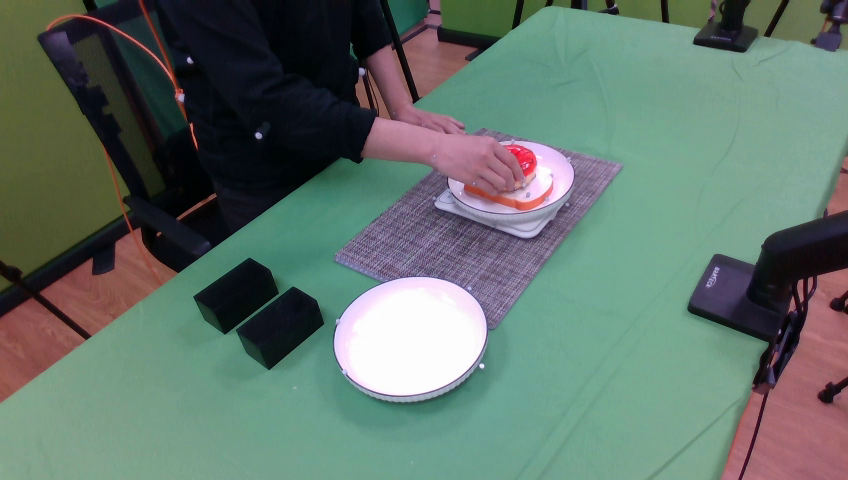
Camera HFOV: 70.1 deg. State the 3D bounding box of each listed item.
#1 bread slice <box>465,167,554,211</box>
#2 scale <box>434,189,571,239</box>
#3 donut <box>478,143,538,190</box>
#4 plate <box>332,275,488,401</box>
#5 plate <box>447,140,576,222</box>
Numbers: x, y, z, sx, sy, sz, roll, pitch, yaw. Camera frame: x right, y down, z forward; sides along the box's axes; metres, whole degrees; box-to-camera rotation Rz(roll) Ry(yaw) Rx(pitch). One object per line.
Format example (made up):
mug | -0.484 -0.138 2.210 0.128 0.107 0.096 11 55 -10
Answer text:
bread slice | 0.149 -0.095 0.999 0.130 0.019 0.105 25 52 33
scale | 0.132 -0.075 1.025 0.199 0.032 0.149 22 48 30
donut | 0.135 -0.120 0.983 0.099 0.048 0.098 -8 41 7
plate | -0.017 0.131 0.808 0.207 0.039 0.206 -4 41 4
plate | 0.143 -0.094 0.995 0.209 0.038 0.208 -4 41 4
